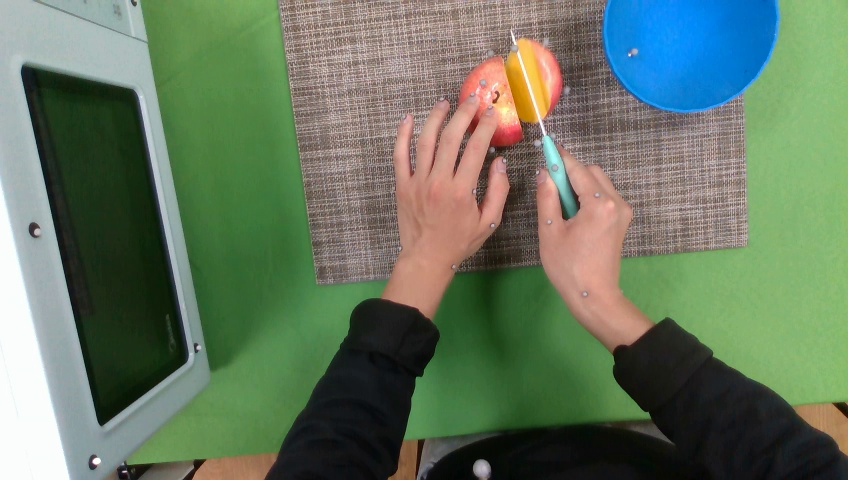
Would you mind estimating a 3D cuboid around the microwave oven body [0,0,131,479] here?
[{"bbox_3d":[-0.420,-0.028,0.520,0.326,0.259,0.443,-8,99,3],"label":"microwave oven body"}]

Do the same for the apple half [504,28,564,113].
[{"bbox_3d":[0.109,-0.162,0.576,0.033,0.081,0.081,-20,98,-17],"label":"apple half"}]

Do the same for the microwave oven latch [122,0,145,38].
[{"bbox_3d":[-0.292,-0.235,0.579,0.030,0.029,0.079,-7,99,3],"label":"microwave oven latch"}]

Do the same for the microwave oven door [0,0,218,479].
[{"bbox_3d":[-0.269,-0.005,0.512,0.039,0.243,0.356,-8,98,4],"label":"microwave oven door"}]

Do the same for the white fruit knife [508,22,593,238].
[{"bbox_3d":[0.111,-0.092,0.537,0.016,0.027,0.208,-19,106,17],"label":"white fruit knife"}]

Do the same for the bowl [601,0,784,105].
[{"bbox_3d":[0.231,-0.197,0.555,0.151,0.076,0.151,0,99,3],"label":"bowl"}]

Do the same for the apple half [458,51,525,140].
[{"bbox_3d":[0.060,-0.132,0.576,0.053,0.074,0.081,-17,102,13],"label":"apple half"}]
